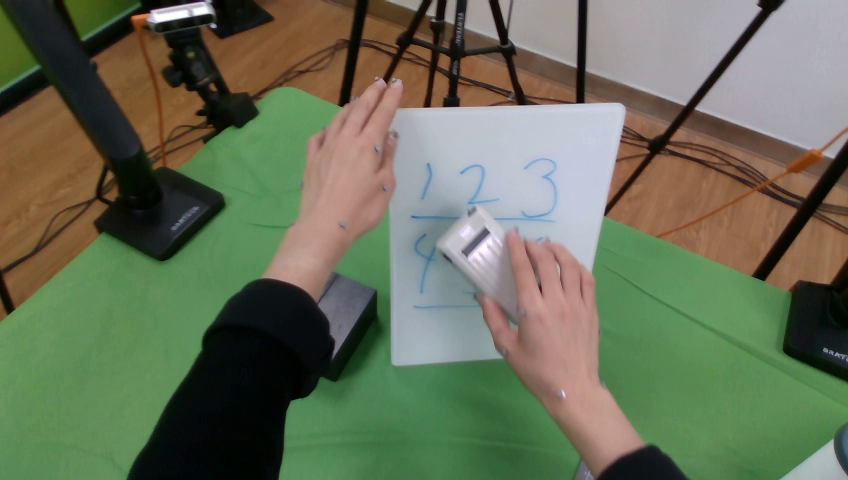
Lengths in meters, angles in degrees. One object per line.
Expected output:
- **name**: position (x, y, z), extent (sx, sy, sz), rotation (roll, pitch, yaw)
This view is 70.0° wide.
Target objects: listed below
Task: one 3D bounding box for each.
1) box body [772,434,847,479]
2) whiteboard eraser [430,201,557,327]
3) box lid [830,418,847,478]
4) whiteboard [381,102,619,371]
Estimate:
- **box body**: position (0.500, 0.313, 0.489), extent (0.255, 0.162, 0.360), rotation (-13, 54, -15)
- **whiteboard eraser**: position (0.062, 0.022, 0.541), extent (0.113, 0.041, 0.055), rotation (43, 91, -13)
- **box lid**: position (0.505, 0.265, 0.433), extent (0.264, 0.015, 0.367), rotation (-13, 54, -15)
- **whiteboard**: position (0.060, -0.023, 0.668), extent (0.217, 0.308, 0.142), rotation (-2, 33, -6)
